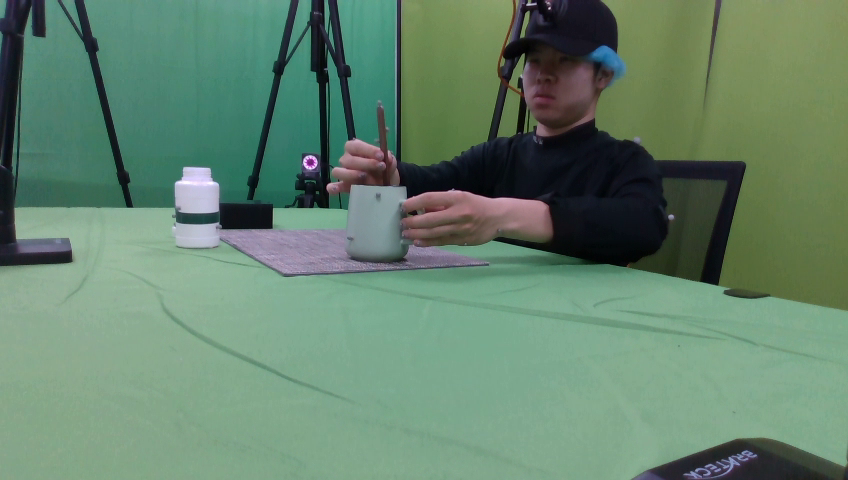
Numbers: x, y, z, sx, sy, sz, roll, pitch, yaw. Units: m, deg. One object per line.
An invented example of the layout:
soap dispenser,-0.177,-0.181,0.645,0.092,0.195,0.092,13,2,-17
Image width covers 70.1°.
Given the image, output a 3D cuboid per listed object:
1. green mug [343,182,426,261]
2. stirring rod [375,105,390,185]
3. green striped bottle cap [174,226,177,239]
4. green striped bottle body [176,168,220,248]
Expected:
green mug,-0.053,-0.026,0.848,0.125,0.105,0.093,6,8,29
stirring rod,-0.055,-0.100,0.847,0.006,0.176,0.014,-15,16,-40
green striped bottle cap,-0.405,-0.015,1.036,0.044,0.020,0.044,-1,10,0
green striped bottle body,-0.345,-0.050,0.924,0.063,0.119,0.063,2,7,0
